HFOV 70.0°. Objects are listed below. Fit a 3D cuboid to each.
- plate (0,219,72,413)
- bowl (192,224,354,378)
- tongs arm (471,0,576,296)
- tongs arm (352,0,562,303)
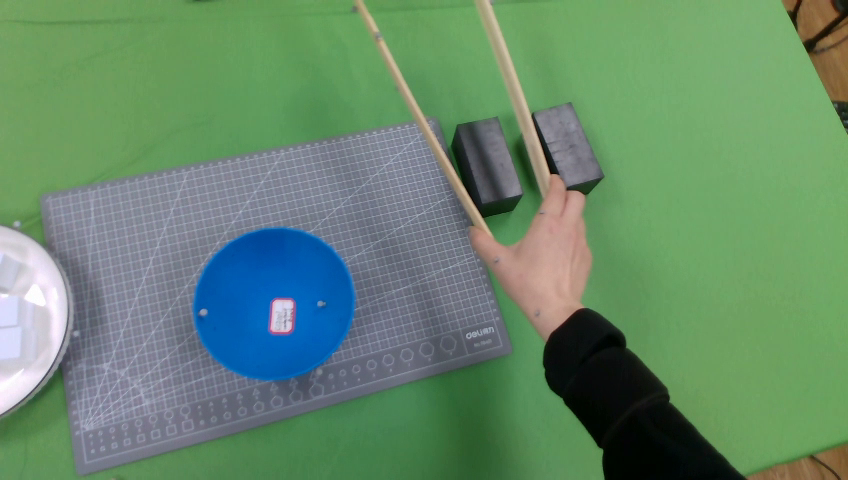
[{"bbox_3d":[-0.451,0.079,0.592,0.208,0.039,0.206,2,73,-6],"label":"plate"},{"bbox_3d":[-0.146,0.067,0.611,0.152,0.077,0.150,2,72,-7],"label":"bowl"},{"bbox_3d":[0.088,-0.130,0.619,0.028,0.028,0.386,-14,80,-15],"label":"tongs arm"},{"bbox_3d":[0.024,-0.105,0.606,0.051,0.026,0.383,-24,81,-13],"label":"tongs arm"}]
